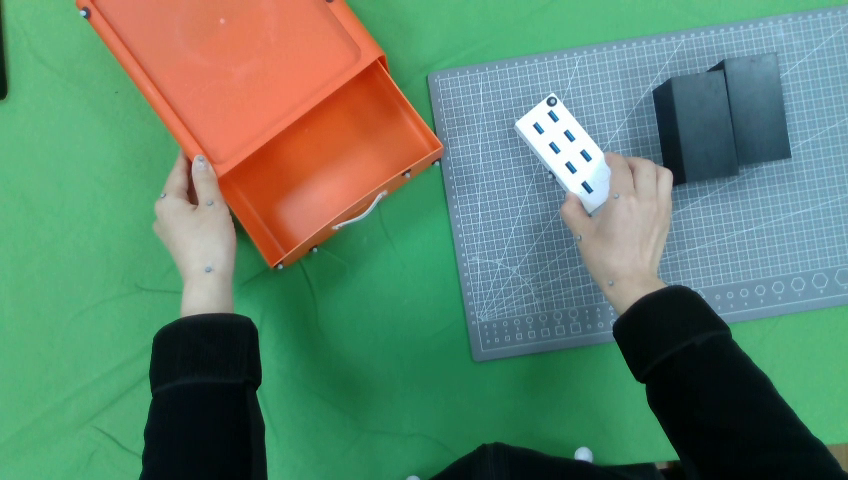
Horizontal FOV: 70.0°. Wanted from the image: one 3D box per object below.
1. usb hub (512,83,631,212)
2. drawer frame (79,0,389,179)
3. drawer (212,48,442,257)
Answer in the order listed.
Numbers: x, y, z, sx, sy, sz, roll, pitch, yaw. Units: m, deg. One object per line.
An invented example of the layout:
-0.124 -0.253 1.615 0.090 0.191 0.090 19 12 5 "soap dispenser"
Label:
0.145 -0.090 0.597 0.049 0.025 0.125 -39 87 3 "usb hub"
-0.176 -0.198 0.576 0.201 0.083 0.213 -37 90 2 "drawer frame"
-0.119 -0.121 0.580 0.194 0.073 0.211 -35 89 1 "drawer"
